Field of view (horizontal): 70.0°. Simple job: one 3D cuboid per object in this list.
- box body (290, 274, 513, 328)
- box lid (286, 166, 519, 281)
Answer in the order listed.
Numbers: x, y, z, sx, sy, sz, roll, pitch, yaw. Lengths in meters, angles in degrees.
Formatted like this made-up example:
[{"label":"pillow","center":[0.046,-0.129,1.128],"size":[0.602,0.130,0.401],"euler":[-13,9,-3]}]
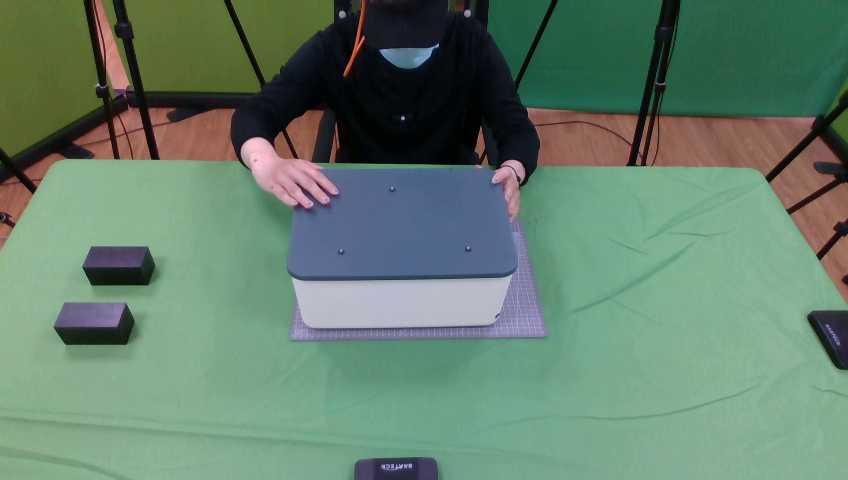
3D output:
[{"label":"box body","center":[-0.040,0.015,1.075],"size":[0.364,0.161,0.252],"euler":[-1,47,-4]},{"label":"box lid","center":[-0.034,-0.036,1.020],"size":[0.372,0.015,0.261],"euler":[-1,47,-4]}]
